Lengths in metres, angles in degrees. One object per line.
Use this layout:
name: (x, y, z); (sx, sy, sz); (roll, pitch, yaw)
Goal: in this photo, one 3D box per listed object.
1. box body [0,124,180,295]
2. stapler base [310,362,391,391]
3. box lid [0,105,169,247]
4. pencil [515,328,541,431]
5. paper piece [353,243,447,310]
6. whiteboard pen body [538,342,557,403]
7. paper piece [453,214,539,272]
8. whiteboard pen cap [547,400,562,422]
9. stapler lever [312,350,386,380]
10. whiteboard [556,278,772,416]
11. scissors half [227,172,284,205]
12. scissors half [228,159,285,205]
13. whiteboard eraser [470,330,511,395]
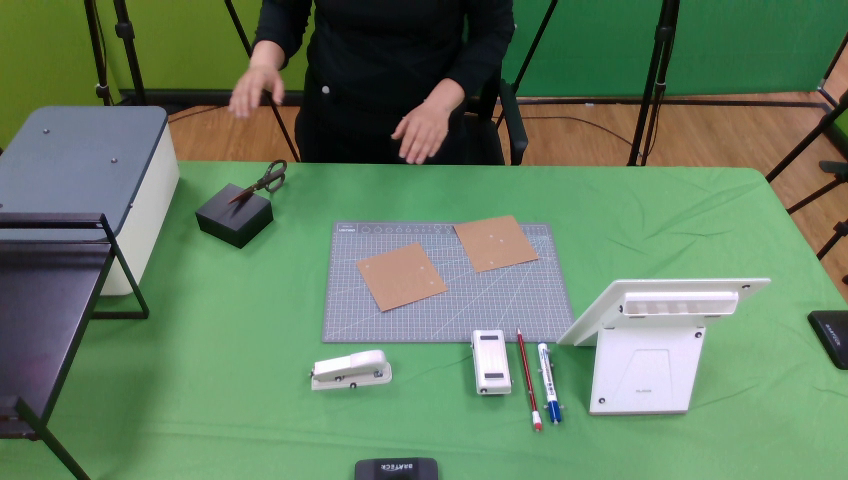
box body: (-0.628, -0.075, 1.122); (0.254, 0.161, 0.361); (1, 46, -4)
stapler base: (-0.119, 0.215, 0.980); (0.131, 0.024, 0.041); (-5, 44, -7)
box lid: (-0.624, -0.125, 1.067); (0.263, 0.015, 0.369); (0, 46, -3)
pencil: (0.169, 0.224, 1.002); (0.012, 0.012, 0.192); (-1, 46, -6)
paper piece: (-0.045, 0.066, 1.137); (0.136, 0.009, 0.137); (-14, 47, -22)
whiteboard pen body: (0.205, 0.228, 0.997); (0.017, 0.017, 0.140); (1, 46, -3)
paper piece: (0.142, 0.003, 1.213); (0.135, 0.004, 0.135); (-11, 48, -14)
whiteboard pen cap: (0.205, 0.269, 0.956); (0.018, 0.018, 0.033); (0, 47, -5)
stapler lever: (-0.120, 0.198, 0.963); (0.118, 0.040, 0.026); (-4, 44, -8)
whiteboard: (0.347, 0.174, 0.903); (0.217, 0.306, 0.143); (1, 65, -4)
scissors half: (-0.339, -0.101, 1.230); (0.013, 0.040, 0.175); (21, 28, 17)
scissors half: (-0.336, -0.117, 1.218); (0.013, 0.040, 0.175); (25, 46, 13)
whiteboard eraser: (0.109, 0.202, 0.998); (0.055, 0.042, 0.112); (1, 46, -5)
